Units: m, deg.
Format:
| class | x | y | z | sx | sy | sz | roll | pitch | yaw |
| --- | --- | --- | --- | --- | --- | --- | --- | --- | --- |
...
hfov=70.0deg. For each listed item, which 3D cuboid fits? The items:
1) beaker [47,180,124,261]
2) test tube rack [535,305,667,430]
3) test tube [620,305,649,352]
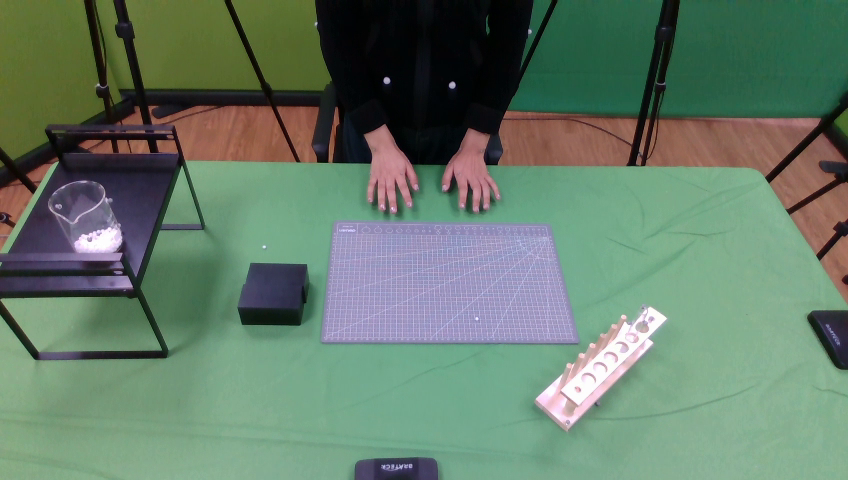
| class | x | y | z | sx | sy | sz | roll | pitch | yaw |
| --- | --- | --- | --- | --- | --- | --- | --- | --- | --- |
| beaker | -0.486 | -0.024 | 0.879 | 0.074 | 0.101 | 0.083 | -7 | 48 | -9 |
| test tube rack | 0.290 | 0.193 | 0.984 | 0.242 | 0.085 | 0.066 | -32 | 57 | -30 |
| test tube | 0.329 | 0.150 | 0.960 | 0.017 | 0.151 | 0.017 | -1 | 50 | 1 |
